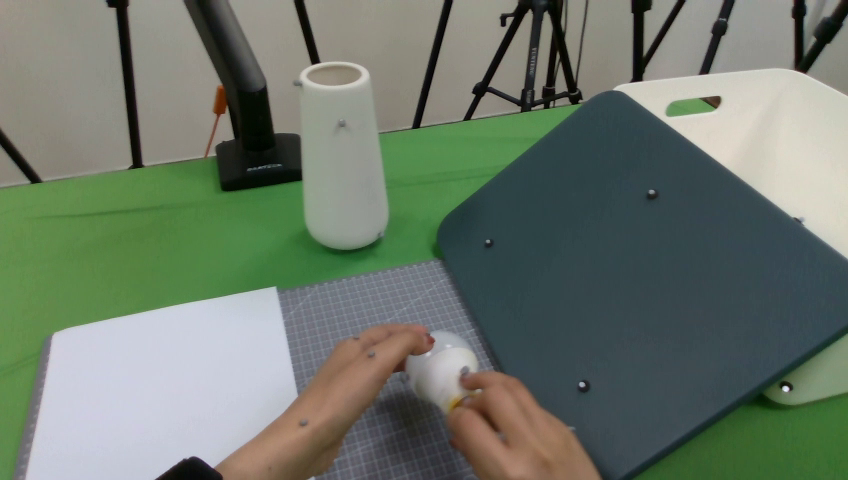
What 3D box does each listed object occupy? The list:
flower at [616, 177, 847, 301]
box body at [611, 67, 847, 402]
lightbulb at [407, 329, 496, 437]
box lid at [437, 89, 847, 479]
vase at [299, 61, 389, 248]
[{"bbox_3d":[0.380,0.019,0.677,0.358,0.038,0.044,33,41,29],"label":"flower"},{"bbox_3d":[0.373,-0.029,0.628,0.255,0.162,0.360,-10,39,-13],"label":"box body"},{"bbox_3d":[0.025,0.115,0.483,0.060,0.060,0.106,-14,34,-18],"label":"lightbulb"},{"bbox_3d":[0.163,0.014,0.560,0.263,0.015,0.367,-40,40,11],"label":"box lid"},{"bbox_3d":[-0.091,-0.089,0.668,0.098,0.202,0.097,-1,37,1],"label":"vase"}]
